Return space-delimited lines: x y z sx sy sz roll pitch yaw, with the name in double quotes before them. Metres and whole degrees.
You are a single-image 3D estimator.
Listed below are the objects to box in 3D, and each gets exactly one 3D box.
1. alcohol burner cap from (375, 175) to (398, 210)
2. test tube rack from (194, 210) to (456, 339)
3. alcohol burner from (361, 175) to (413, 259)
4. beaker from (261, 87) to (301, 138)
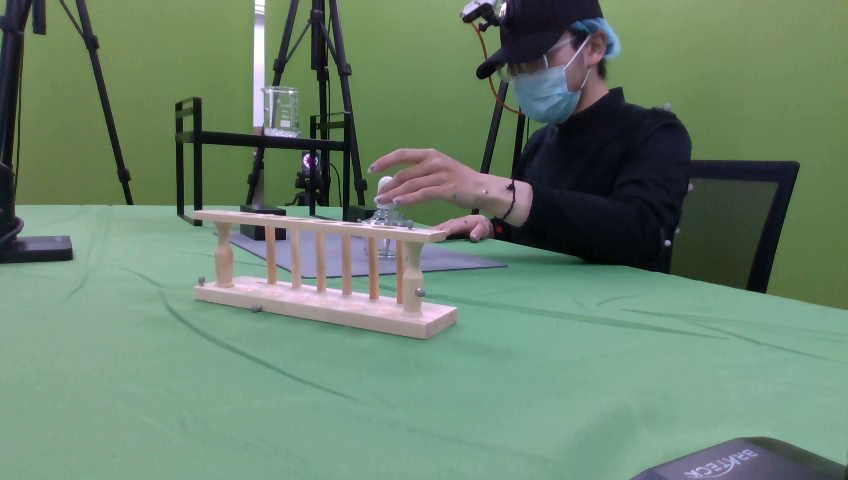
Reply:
"alcohol burner cap" -0.053 -0.069 0.866 0.034 0.048 0.034 4 9 0
"test tube rack" -0.093 0.023 0.545 0.241 0.085 0.067 6 8 25
"alcohol burner" -0.054 -0.033 0.871 0.078 0.119 0.078 1 8 0
"beaker" -0.298 -0.263 1.255 0.084 0.100 0.073 -5 10 -40
